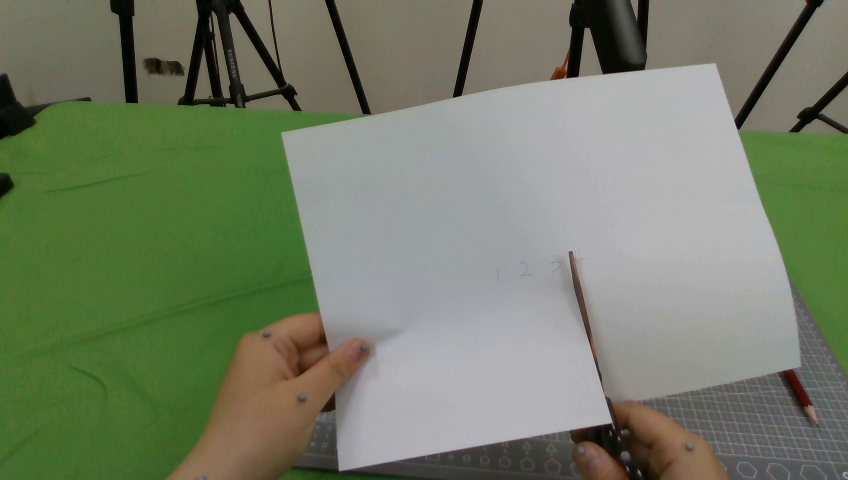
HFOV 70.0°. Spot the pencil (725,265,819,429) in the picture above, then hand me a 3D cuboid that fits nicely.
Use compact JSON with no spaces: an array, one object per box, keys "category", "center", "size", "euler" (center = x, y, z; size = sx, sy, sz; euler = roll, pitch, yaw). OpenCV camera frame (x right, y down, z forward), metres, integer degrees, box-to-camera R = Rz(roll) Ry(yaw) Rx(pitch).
[{"category":"pencil","center":[0.308,0.087,0.543],"size":[0.012,0.012,0.192],"euler":[1,38,1]}]

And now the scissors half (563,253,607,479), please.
[{"category":"scissors half","center":[0.101,0.094,0.368],"size":[0.013,0.175,0.040],"euler":[-11,5,-4]}]

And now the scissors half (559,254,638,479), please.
[{"category":"scissors half","center":[0.100,0.090,0.346],"size":[0.013,0.040,0.174],"euler":[-12,71,1]}]
